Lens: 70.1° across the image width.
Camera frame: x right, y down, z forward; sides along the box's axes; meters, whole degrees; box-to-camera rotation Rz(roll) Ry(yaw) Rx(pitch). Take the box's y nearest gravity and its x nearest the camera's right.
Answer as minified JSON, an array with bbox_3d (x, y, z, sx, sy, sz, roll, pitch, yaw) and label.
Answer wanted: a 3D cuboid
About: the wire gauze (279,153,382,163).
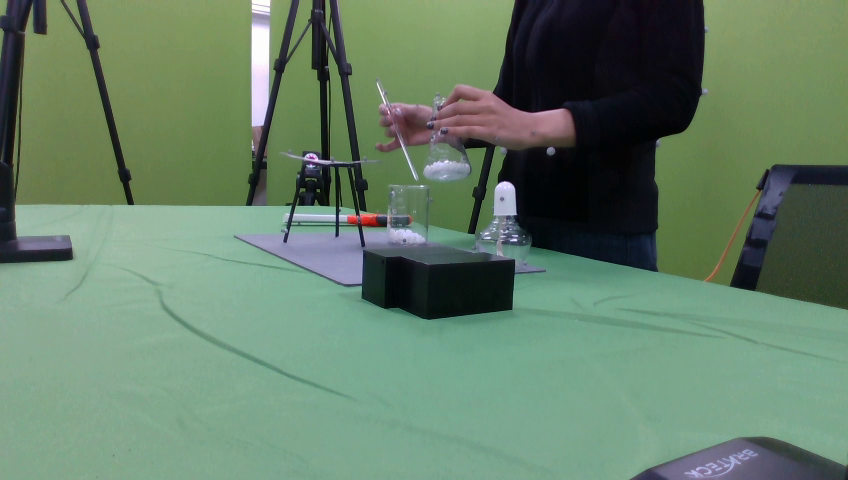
[{"bbox_3d":[-0.149,-0.129,0.974,0.124,0.011,0.122,10,9,41],"label":"wire gauze"}]

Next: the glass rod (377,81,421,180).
[{"bbox_3d":[-0.043,-0.188,1.021,0.008,0.199,0.008,-21,-17,-6],"label":"glass rod"}]

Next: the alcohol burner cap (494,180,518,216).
[{"bbox_3d":[0.108,-0.055,0.800,0.034,0.048,0.034,-2,4,0],"label":"alcohol burner cap"}]

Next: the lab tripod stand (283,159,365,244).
[{"bbox_3d":[-0.151,-0.063,0.983,0.148,0.131,0.148,4,7,0],"label":"lab tripod stand"}]

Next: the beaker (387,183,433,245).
[{"bbox_3d":[-0.027,-0.044,1.012,0.074,0.100,0.083,-2,8,-34],"label":"beaker"}]

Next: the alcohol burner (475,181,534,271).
[{"bbox_3d":[0.108,-0.020,0.804,0.078,0.119,0.078,3,5,0],"label":"alcohol burner"}]

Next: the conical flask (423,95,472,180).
[{"bbox_3d":[0.033,-0.156,0.916,0.075,0.121,0.075,-3,-10,0],"label":"conical flask"}]

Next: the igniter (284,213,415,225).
[{"bbox_3d":[-0.154,-0.045,1.282,0.278,0.025,0.057,0,-2,-20],"label":"igniter"}]
